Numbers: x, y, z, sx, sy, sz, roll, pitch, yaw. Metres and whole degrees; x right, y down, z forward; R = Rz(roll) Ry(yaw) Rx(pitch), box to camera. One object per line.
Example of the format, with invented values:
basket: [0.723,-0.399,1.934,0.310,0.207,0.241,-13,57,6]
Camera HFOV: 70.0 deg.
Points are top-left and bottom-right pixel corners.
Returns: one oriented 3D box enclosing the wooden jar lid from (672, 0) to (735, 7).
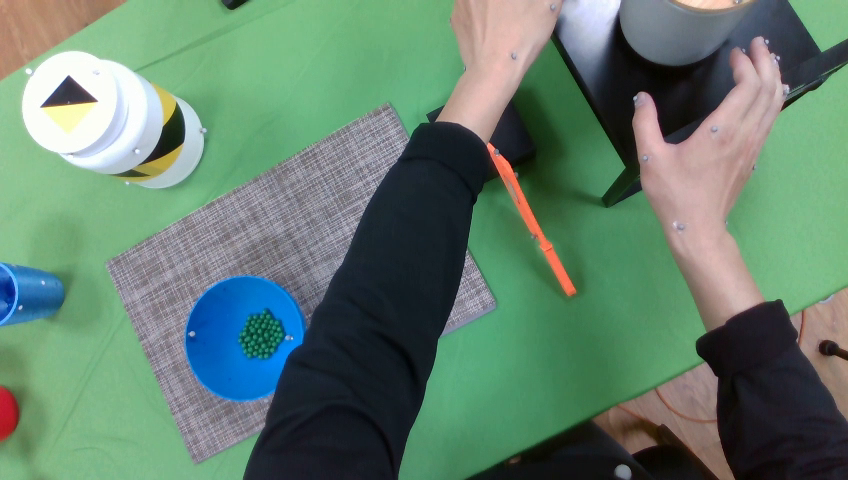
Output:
wooden jar lid: [0.212,-0.226,0.457,0.108,0.021,0.108,-1,86,9]

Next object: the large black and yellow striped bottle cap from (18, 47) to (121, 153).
large black and yellow striped bottle cap: [-0.392,-0.154,0.669,0.115,0.019,0.115,0,87,9]

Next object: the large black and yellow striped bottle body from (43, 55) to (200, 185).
large black and yellow striped bottle body: [-0.381,-0.147,0.752,0.130,0.184,0.130,-1,85,8]

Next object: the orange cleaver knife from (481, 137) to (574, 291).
orange cleaver knife: [0.124,-0.030,0.725,0.012,0.076,0.213,-32,112,1]

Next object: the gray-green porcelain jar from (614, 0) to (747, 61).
gray-green porcelain jar: [0.223,-0.221,0.519,0.105,0.127,0.105,-1,86,9]

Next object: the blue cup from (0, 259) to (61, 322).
blue cup: [-0.543,0.067,0.802,0.092,0.100,0.092,0,87,6]

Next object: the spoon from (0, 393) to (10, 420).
spoon: [-0.652,0.247,0.785,0.194,0.021,0.041,-16,82,-37]

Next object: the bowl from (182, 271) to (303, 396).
bowl: [-0.214,0.115,0.761,0.151,0.077,0.151,-1,86,8]
